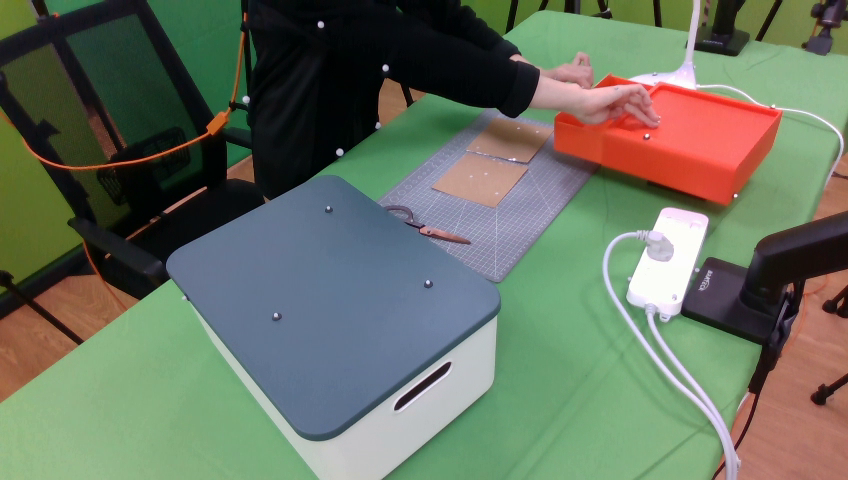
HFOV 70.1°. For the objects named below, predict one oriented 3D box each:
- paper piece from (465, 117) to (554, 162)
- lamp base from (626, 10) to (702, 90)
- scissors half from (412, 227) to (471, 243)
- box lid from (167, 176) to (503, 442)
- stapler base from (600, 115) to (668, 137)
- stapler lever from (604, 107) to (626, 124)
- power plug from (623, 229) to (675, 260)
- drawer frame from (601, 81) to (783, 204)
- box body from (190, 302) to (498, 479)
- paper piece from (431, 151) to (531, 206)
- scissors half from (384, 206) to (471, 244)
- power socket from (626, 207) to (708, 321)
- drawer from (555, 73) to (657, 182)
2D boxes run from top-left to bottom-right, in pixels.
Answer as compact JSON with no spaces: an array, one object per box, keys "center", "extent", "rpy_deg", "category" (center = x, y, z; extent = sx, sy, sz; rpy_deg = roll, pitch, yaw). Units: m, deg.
[{"center":[0.171,-0.200,1.195],"extent":[0.137,0.009,0.136],"rpy_deg":[17,44,27],"category":"paper piece"},{"center":[0.484,-0.364,1.211],"extent":[0.180,0.181,0.159],"rpy_deg":[-15,41,-14],"category":"lamp base"},{"center":[-0.007,-0.010,0.993],"extent":[0.174,0.013,0.040],"rpy_deg":[8,47,15],"category":"scissors half"},{"center":[-0.119,0.047,0.714],"extent":[0.264,0.015,0.368],"rpy_deg":[-32,47,-27],"category":"box lid"},{"center":[0.371,-0.205,1.070],"extent":[0.131,0.024,0.041],"rpy_deg":[-14,15,-23],"category":"stapler base"},{"center":[0.368,-0.224,1.067],"extent":[0.118,0.040,0.026],"rpy_deg":[-21,17,-21],"category":"stapler lever"},{"center":[0.327,0.007,0.878],"extent":[0.072,0.053,0.035],"rpy_deg":[25,50,33],"category":"power plug"},{"center":[0.436,-0.168,0.995],"extent":[0.212,0.083,0.202],"rpy_deg":[27,50,33],"category":"drawer frame"},{"center":[-0.110,0.103,0.761],"extent":[0.255,0.161,0.361],"rpy_deg":[-33,46,-27],"category":"box body"},{"center":[0.104,-0.116,1.104],"extent":[0.135,0.004,0.136],"rpy_deg":[20,47,29],"category":"paper piece"},{"center":[0.001,-0.024,1.005],"extent":[0.174,0.013,0.040],"rpy_deg":[22,57,25],"category":"scissors half"},{"center":[0.360,0.026,0.886],"extent":[0.072,0.033,0.227],"rpy_deg":[16,46,26],"category":"power socket"},{"center":[0.365,-0.200,1.047],"extent":[0.210,0.073,0.195],"rpy_deg":[27,50,33],"category":"drawer"}]
